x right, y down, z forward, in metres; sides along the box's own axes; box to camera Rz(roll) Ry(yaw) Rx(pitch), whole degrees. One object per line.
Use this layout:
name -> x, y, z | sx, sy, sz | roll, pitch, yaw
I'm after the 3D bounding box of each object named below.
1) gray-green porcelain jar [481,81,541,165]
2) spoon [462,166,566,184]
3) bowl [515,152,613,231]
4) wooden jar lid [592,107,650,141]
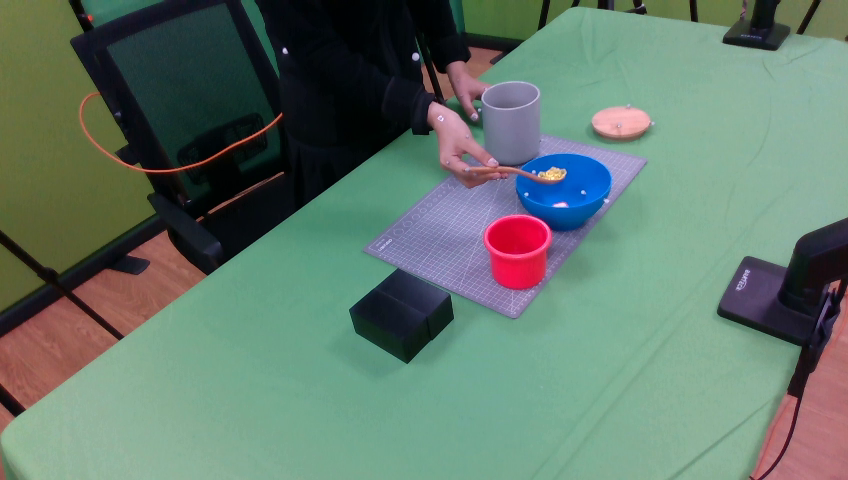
gray-green porcelain jar -> 0.162, -0.212, 1.116 | 0.106, 0.127, 0.105 | -5, 40, 5
spoon -> 0.140, -0.103, 0.929 | 0.195, 0.021, 0.041 | 5, 13, -30
bowl -> 0.225, -0.068, 0.972 | 0.151, 0.077, 0.150 | -5, 40, 5
wooden jar lid -> 0.382, -0.225, 1.178 | 0.108, 0.021, 0.108 | -5, 40, 4
